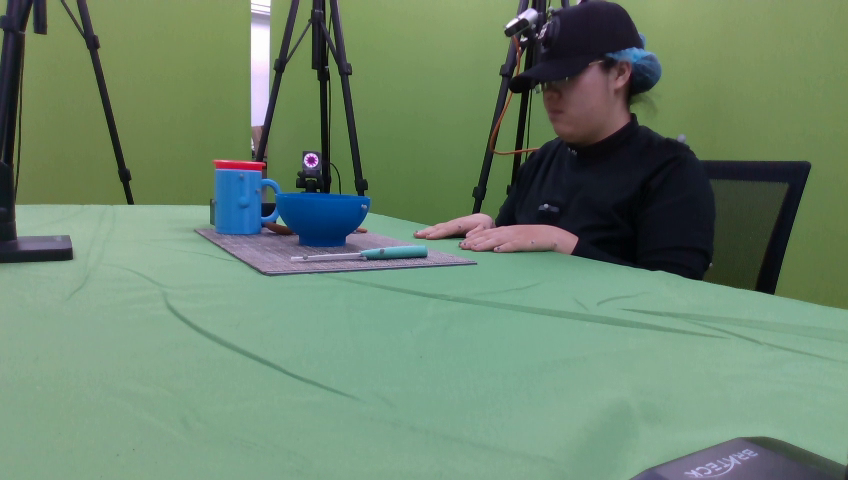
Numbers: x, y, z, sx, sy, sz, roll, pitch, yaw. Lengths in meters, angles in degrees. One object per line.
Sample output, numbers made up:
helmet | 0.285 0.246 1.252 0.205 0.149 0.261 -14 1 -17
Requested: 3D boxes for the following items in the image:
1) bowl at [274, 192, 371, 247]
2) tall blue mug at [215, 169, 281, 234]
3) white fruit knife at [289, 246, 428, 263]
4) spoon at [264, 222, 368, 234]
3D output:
bowl | -0.161 -0.033 0.958 0.151 0.077 0.151 3 7 0
tall blue mug | -0.313 -0.069 1.061 0.077 0.108 0.108 6 8 31
white fruit knife | -0.082 0.022 0.822 0.208 0.016 0.027 -3 -20 -30
spoon | -0.191 -0.023 1.090 0.195 0.021 0.041 -2 -9 -29
